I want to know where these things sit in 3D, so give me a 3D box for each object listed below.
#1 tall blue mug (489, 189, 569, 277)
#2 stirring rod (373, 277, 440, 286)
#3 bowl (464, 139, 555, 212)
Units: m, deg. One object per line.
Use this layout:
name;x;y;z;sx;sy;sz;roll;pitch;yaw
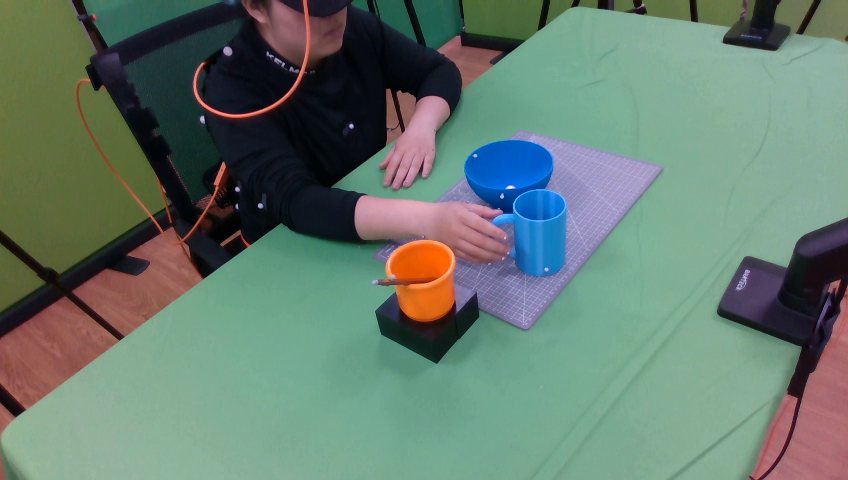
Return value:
tall blue mug;0.158;-0.005;0.886;0.107;0.108;0.077;-23;43;-16
stirring rod;-0.018;0.051;0.757;0.014;0.006;0.177;11;2;24
bowl;0.145;-0.100;1.025;0.151;0.077;0.150;-5;40;5
